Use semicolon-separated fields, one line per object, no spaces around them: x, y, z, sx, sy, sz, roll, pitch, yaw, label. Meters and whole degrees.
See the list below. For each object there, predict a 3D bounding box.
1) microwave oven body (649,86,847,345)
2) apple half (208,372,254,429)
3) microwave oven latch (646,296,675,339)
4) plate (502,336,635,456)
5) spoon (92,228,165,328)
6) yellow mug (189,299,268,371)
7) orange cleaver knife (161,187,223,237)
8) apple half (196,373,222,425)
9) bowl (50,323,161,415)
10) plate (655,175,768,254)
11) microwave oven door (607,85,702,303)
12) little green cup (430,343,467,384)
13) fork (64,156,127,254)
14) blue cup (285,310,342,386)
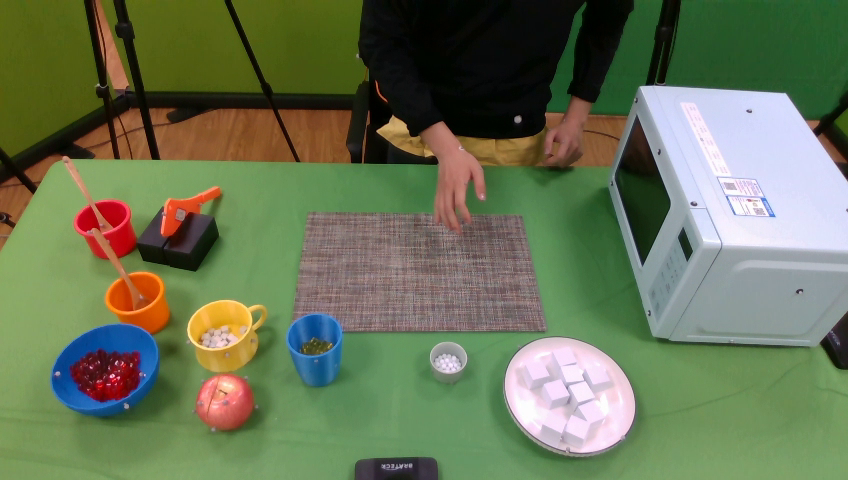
0.568;-0.053;1.118;0.326;0.261;0.439;2;45;-1;microwave oven body
-0.282;0.244;0.908;0.053;0.075;0.080;7;43;-1;apple half
0.412;0.134;1.061;0.030;0.029;0.078;4;45;1;microwave oven latch
0.225;0.248;0.963;0.208;0.039;0.206;2;46;-2;plate
-0.496;0.063;1.014;0.041;0.194;0.021;-33;12;-31;spoon
-0.316;0.148;1.002;0.131;0.064;0.099;-32;56;-31;yellow mug
-0.448;-0.058;1.180;0.012;0.077;0.211;13;17;6;orange cleaver knife
-0.322;0.239;0.907;0.033;0.081;0.081;7;46;-1;apple half
-0.472;0.209;0.924;0.151;0.077;0.150;2;45;-2;bowl
0.555;-0.046;1.184;0.209;0.038;0.208;2;46;-2;plate
0.423;-0.094;1.140;0.039;0.245;0.353;2;46;-1;microwave oven door
0.039;0.203;0.994;0.061;0.039;0.061;2;46;-2;little green cup
-0.614;-0.064;1.130;0.028;0.018;0.207;-29;97;-16;fork
-0.169;0.179;0.958;0.093;0.101;0.092;1;44;-1;blue cup
